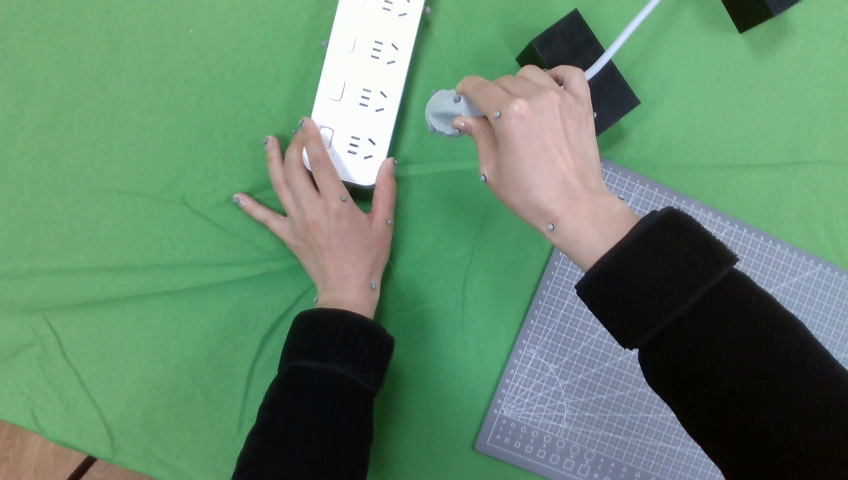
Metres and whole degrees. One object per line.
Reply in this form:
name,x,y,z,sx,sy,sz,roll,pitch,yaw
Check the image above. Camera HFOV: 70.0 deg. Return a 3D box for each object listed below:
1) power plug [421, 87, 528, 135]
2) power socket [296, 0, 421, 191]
power plug,0.033,-0.089,0.452,0.073,0.052,0.035,22,81,-11
power socket,-0.054,-0.155,0.529,0.072,0.032,0.226,15,89,-8
